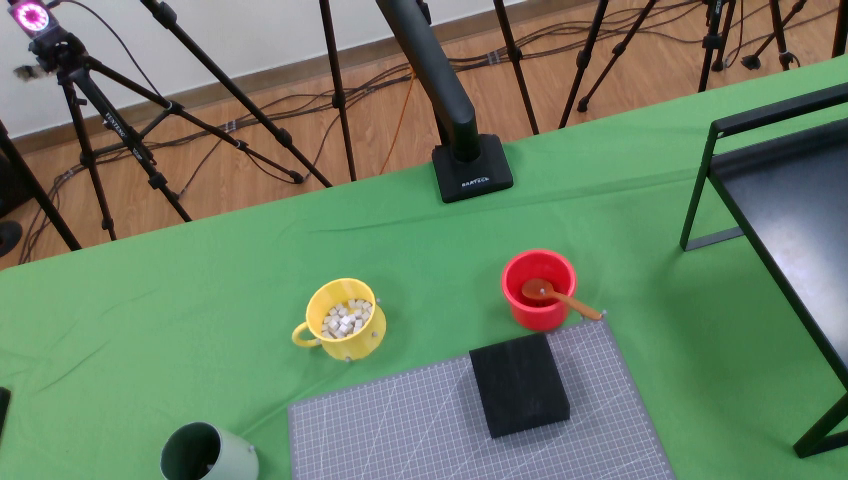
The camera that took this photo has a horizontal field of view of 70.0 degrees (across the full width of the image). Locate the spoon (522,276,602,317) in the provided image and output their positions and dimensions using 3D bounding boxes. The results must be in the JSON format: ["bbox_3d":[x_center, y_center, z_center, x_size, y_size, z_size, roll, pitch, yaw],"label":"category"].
[{"bbox_3d":[0.173,0.071,0.773,0.041,0.193,0.022,-22,99,-9],"label":"spoon"}]

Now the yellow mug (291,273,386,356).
[{"bbox_3d":[-0.125,0.112,0.857,0.131,0.064,0.099,-23,54,-3],"label":"yellow mug"}]

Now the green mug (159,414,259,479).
[{"bbox_3d":[-0.276,0.282,0.749,0.125,0.106,0.091,-43,59,-17],"label":"green mug"}]
